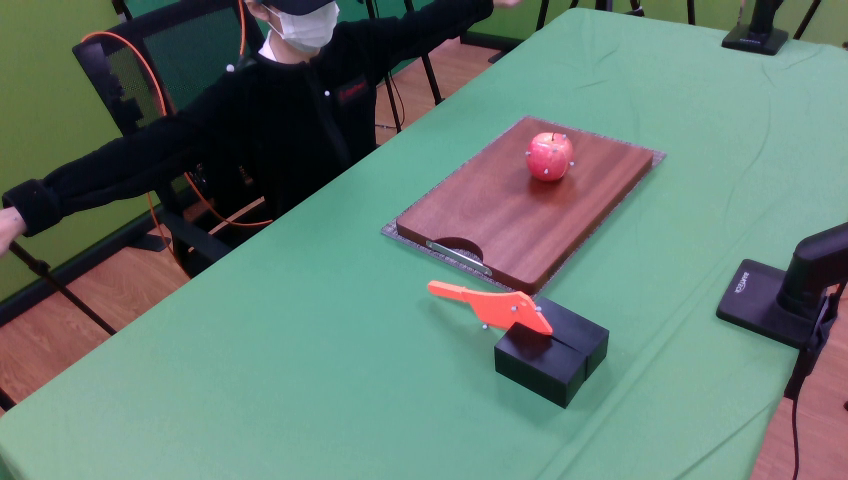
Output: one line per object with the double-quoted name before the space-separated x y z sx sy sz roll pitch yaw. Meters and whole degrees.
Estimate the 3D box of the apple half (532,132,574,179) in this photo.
"apple half" 0.222 -0.147 1.031 0.080 0.075 0.053 20 44 35

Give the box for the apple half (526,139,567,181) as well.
"apple half" 0.198 -0.127 1.009 0.080 0.081 0.033 24 46 32

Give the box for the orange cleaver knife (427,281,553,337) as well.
"orange cleaver knife" 0.082 0.090 0.810 0.012 0.077 0.209 -42 28 -29
